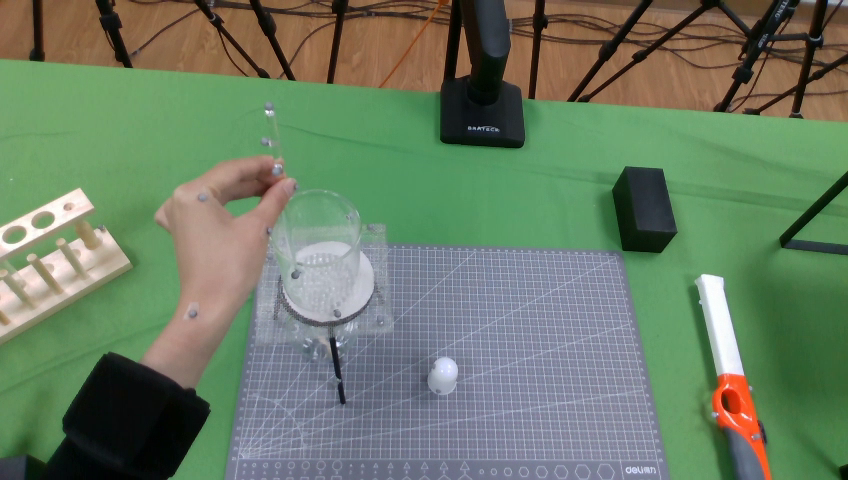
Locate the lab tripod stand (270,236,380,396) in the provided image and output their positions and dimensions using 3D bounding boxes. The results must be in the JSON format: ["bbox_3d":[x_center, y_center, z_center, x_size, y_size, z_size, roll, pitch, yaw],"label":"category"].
[{"bbox_3d":[-0.097,0.071,0.622,0.148,0.132,0.147,4,59,-5],"label":"lab tripod stand"}]

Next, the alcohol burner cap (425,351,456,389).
[{"bbox_3d":[0.019,0.138,0.647,0.034,0.048,0.033,2,59,-3],"label":"alcohol burner cap"}]

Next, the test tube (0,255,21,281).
[{"bbox_3d":[-0.442,-0.001,0.605,0.017,0.151,0.017,3,53,-4],"label":"test tube"}]

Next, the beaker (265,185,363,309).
[{"bbox_3d":[-0.095,0.009,0.525,0.084,0.101,0.073,24,59,8],"label":"beaker"}]

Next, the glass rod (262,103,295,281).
[{"bbox_3d":[-0.114,-0.027,0.481,0.008,0.201,0.008,3,50,-3],"label":"glass rod"}]

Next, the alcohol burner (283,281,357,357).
[{"bbox_3d":[-0.108,0.075,0.630,0.078,0.120,0.077,4,57,-6],"label":"alcohol burner"}]

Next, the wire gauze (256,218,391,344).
[{"bbox_3d":[-0.095,0.033,0.569,0.121,0.011,0.124,-3,63,-6],"label":"wire gauze"}]

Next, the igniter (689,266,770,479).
[{"bbox_3d":[0.341,0.154,0.681,0.057,0.025,0.274,10,58,-12],"label":"igniter"}]

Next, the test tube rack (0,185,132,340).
[{"bbox_3d":[-0.448,0.047,0.632,0.242,0.086,0.066,-35,68,-24],"label":"test tube rack"}]
